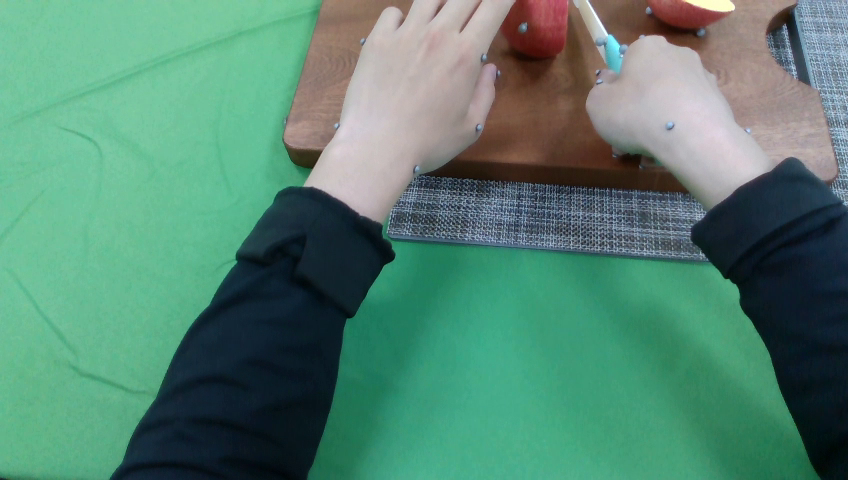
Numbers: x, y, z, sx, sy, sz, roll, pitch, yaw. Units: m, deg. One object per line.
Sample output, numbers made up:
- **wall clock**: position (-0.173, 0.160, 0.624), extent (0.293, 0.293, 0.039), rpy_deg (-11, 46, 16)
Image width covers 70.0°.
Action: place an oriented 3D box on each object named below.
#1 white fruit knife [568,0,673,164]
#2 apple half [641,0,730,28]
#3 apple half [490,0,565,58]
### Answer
- **white fruit knife**: position (0.135, -0.137, 0.447), extent (0.016, 0.028, 0.205), rpy_deg (-12, 53, -1)
- **apple half**: position (0.196, -0.189, 0.480), extent (0.081, 0.033, 0.080), rpy_deg (11, 45, -11)
- **apple half**: position (0.078, -0.183, 0.466), extent (0.053, 0.075, 0.080), rpy_deg (-4, 64, 6)
